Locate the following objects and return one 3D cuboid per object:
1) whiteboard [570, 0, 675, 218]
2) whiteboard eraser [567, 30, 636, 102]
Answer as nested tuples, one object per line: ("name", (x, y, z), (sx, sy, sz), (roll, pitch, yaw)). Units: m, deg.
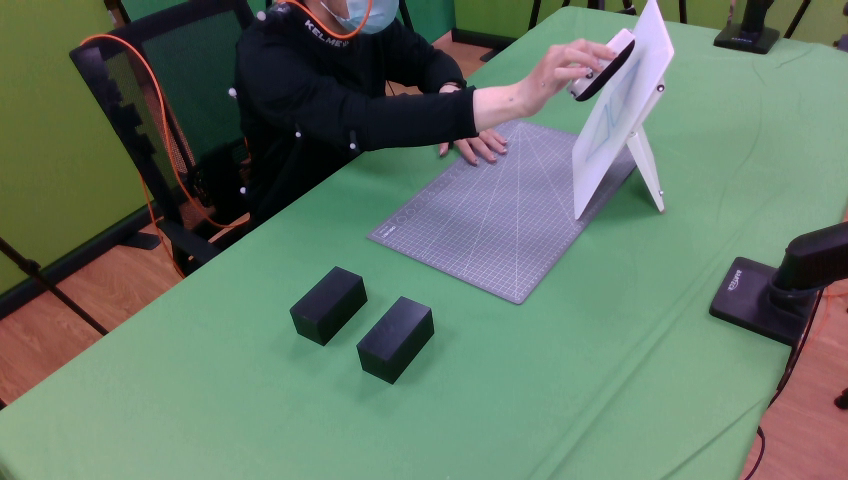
("whiteboard", (0.363, -0.187, 0.965), (0.144, 0.305, 0.216), (18, 42, -3))
("whiteboard eraser", (0.266, -0.257, 0.901), (0.042, 0.055, 0.112), (43, 96, 1))
